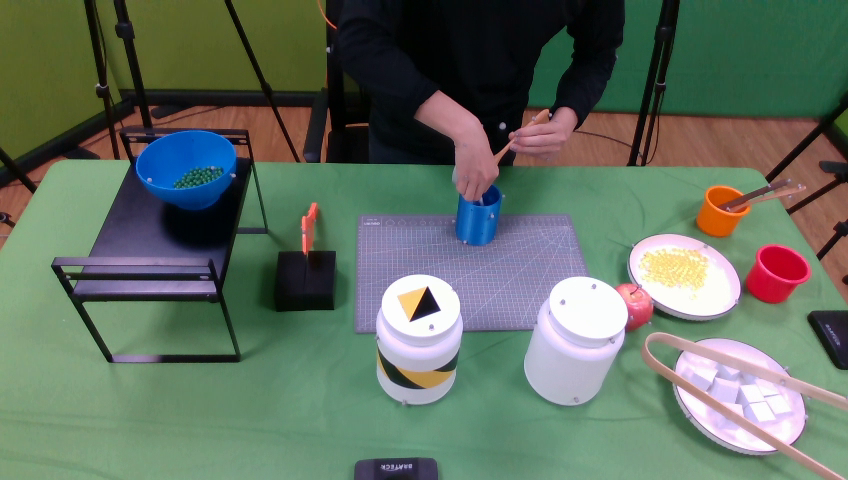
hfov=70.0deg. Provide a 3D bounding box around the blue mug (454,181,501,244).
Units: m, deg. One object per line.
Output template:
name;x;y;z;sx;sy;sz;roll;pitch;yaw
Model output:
blue mug;0.106;-0.067;1.208;0.082;0.106;0.116;6;46;1

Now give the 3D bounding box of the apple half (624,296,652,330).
apple half;0.368;0.135;1.060;0.081;0.081;0.032;-11;43;-15

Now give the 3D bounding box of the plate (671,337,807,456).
plate;0.504;0.254;0.984;0.208;0.039;0.206;2;46;-2

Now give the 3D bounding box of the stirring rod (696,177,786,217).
stirring rod;0.648;-0.087;1.244;0.176;0.006;0.014;-25;50;29

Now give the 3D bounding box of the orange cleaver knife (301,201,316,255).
orange cleaver knife;-0.221;-0.027;1.160;0.012;0.077;0.210;-1;16;-4

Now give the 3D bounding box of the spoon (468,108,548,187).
spoon;0.154;-0.172;1.110;0.194;0.021;0.041;-45;88;3

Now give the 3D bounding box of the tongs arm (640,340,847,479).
tongs arm;0.500;0.277;0.919;0.386;0.028;0.028;34;59;22

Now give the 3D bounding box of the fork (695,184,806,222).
fork;0.658;-0.074;1.230;0.207;0.019;0.028;-24;33;36

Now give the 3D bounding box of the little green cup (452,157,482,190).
little green cup;0.082;-0.127;1.138;0.038;0.062;0.061;20;47;33

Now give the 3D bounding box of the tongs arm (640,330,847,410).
tongs arm;0.543;0.225;0.969;0.384;0.026;0.050;22;52;13

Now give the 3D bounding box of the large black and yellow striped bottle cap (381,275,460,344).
large black and yellow striped bottle cap;-0.005;0.098;0.874;0.115;0.019;0.114;2;45;-2

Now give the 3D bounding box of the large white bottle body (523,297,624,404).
large white bottle body;0.235;0.159;0.952;0.131;0.185;0.130;2;47;-2

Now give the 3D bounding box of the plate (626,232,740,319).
plate;0.489;0.070;1.157;0.209;0.038;0.208;3;46;-3

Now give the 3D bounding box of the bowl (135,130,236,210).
bowl;-0.375;-0.102;0.978;0.151;0.077;0.150;2;46;-2

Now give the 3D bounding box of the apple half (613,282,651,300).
apple half;0.356;0.109;1.086;0.081;0.075;0.053;-13;44;-12

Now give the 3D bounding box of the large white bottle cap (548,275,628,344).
large white bottle cap;0.240;0.100;0.890;0.115;0.018;0.114;3;47;-3

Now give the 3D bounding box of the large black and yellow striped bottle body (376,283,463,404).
large black and yellow striped bottle body;-0.010;0.155;0.937;0.131;0.185;0.130;2;47;-2
